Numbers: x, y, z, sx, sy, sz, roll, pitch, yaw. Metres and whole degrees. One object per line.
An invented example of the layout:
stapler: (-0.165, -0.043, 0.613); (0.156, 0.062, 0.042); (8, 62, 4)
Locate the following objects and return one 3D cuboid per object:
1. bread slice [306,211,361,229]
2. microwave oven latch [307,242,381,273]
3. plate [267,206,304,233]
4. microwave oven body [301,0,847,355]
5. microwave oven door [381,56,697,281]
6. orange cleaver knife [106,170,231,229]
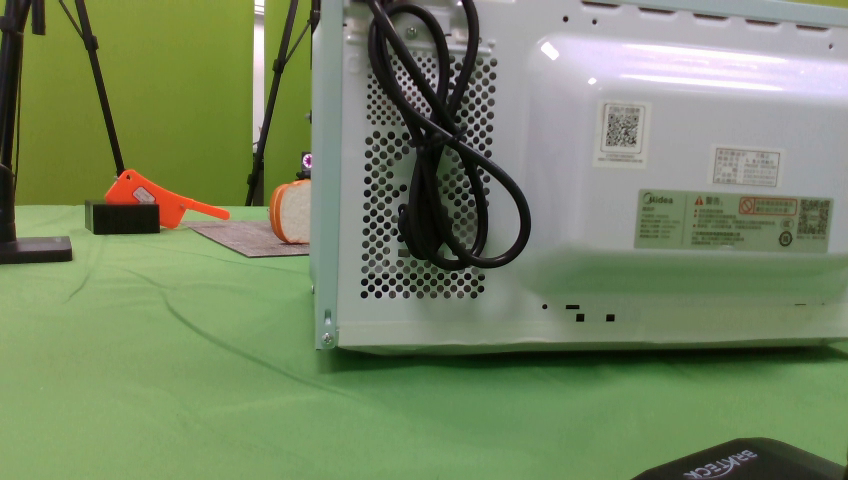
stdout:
bread slice: (-0.173, -0.040, 1.173); (0.107, 0.018, 0.134); (-2, 10, -8)
microwave oven latch: (-0.086, 0.019, 0.656); (0.079, 0.029, 0.030); (2, 7, -9)
plate: (-0.197, -0.039, 1.175); (0.208, 0.039, 0.207); (2, 7, 0)
microwave oven body: (0.120, -0.053, 0.535); (0.443, 0.260, 0.325); (2, 7, -11)
microwave oven door: (0.133, -0.079, 0.703); (0.356, 0.243, 0.039); (2, 8, -6)
orange cleaver knife: (-0.458, -0.060, 1.097); (0.212, 0.077, 0.012); (23, -4, -38)
